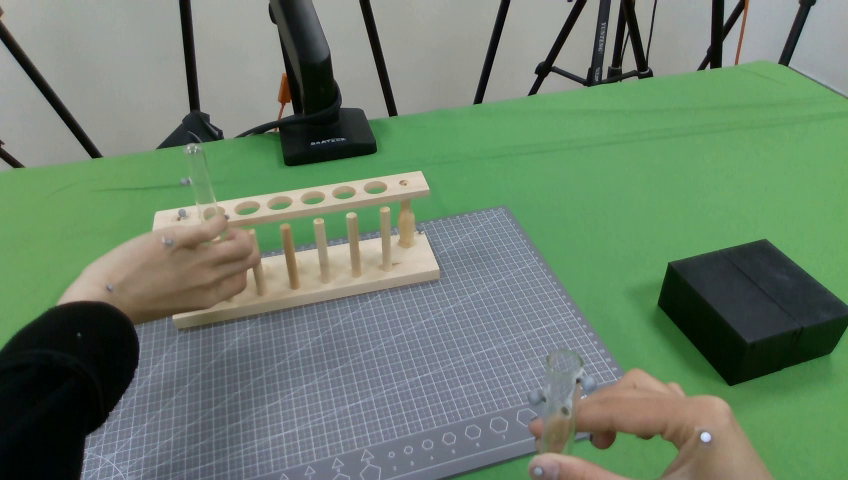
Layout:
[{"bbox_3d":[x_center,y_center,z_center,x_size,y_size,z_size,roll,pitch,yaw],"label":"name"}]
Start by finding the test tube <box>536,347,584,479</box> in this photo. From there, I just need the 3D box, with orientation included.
[{"bbox_3d":[0.064,0.111,0.298,0.017,0.151,0.017,-2,34,2],"label":"test tube"}]

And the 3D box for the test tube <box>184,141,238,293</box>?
[{"bbox_3d":[-0.176,-0.015,0.504,0.017,0.152,0.017,1,38,0],"label":"test tube"}]

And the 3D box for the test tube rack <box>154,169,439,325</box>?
[{"bbox_3d":[-0.112,0.004,0.562,0.243,0.086,0.066,-10,39,-10],"label":"test tube rack"}]
